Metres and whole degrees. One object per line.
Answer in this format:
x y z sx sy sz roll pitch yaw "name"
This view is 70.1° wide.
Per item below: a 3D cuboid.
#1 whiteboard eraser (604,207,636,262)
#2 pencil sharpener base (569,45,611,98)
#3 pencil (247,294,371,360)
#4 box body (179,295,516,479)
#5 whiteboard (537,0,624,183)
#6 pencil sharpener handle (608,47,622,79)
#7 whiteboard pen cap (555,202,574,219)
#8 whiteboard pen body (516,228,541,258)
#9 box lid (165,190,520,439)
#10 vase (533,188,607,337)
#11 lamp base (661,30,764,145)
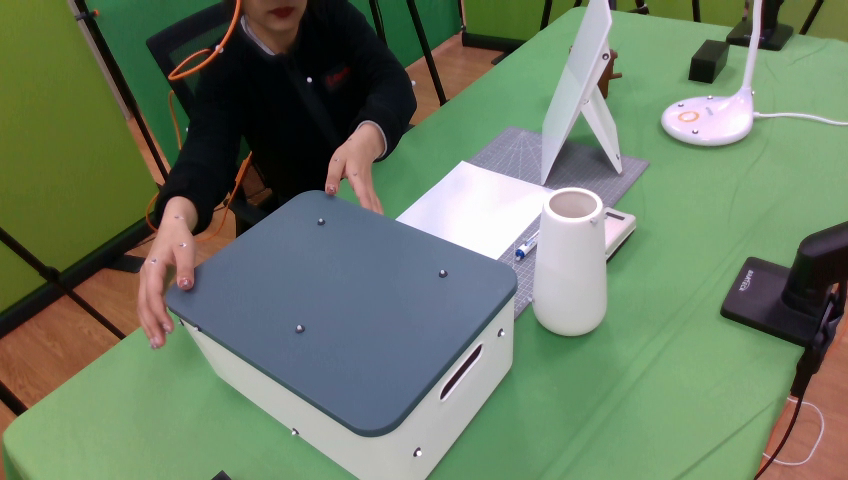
0.272 -0.003 0.919 0.055 0.042 0.113 27 51 32 "whiteboard eraser"
0.346 -0.352 1.262 0.077 0.107 0.061 -10 40 -1 "pencil sharpener base"
-0.163 0.124 0.867 0.194 0.012 0.012 -26 43 -15 "pencil"
-0.093 0.113 0.757 0.361 0.161 0.255 22 49 32 "box body"
0.316 -0.256 1.047 0.144 0.306 0.216 15 42 -1 "whiteboard"
0.395 -0.369 1.254 0.031 0.068 0.036 -10 32 -1 "pencil sharpener handle"
0.230 -0.048 0.994 0.018 0.018 0.033 26 54 34 "whiteboard pen cap"
0.192 -0.015 0.963 0.017 0.017 0.141 27 51 34 "whiteboard pen body"
-0.104 0.056 0.711 0.368 0.015 0.264 22 49 32 "box lid"
0.187 0.033 0.771 0.098 0.201 0.097 -6 41 6 "vase"
0.535 -0.287 1.096 0.179 0.181 0.159 -10 40 -4 "lamp base"
